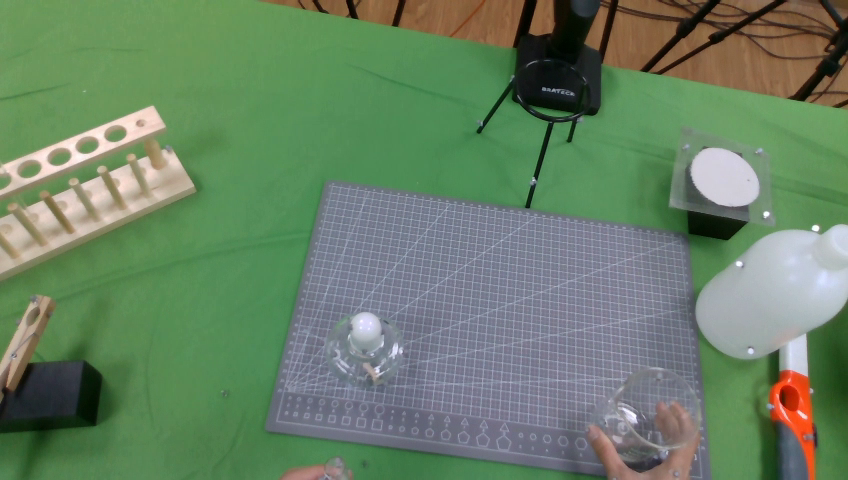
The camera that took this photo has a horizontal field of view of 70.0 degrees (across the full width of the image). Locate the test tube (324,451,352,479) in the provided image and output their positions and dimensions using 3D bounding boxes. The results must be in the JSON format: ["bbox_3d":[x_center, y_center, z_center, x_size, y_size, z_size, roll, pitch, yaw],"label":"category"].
[{"bbox_3d":[-0.061,0.201,0.478,0.017,0.151,0.017,0,50,0],"label":"test tube"}]

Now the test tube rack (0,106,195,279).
[{"bbox_3d":[-0.382,-0.047,0.642,0.242,0.086,0.066,-29,69,-20],"label":"test tube rack"}]

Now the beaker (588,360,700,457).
[{"bbox_3d":[0.204,0.167,0.586,0.084,0.101,0.073,6,61,-2],"label":"beaker"}]

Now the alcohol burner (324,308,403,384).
[{"bbox_3d":[-0.058,0.096,0.585,0.078,0.120,0.077,4,61,-7],"label":"alcohol burner"}]

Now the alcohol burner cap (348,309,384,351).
[{"bbox_3d":[-0.054,0.081,0.553,0.034,0.048,0.033,1,66,-1],"label":"alcohol burner cap"}]

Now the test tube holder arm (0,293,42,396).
[{"bbox_3d":[-0.376,0.130,0.533,0.013,0.015,0.177,11,61,-1],"label":"test tube holder arm"}]

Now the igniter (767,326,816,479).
[{"bbox_3d":[0.400,0.149,0.662,0.057,0.025,0.274,22,62,-9],"label":"igniter"}]

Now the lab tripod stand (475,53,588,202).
[{"bbox_3d":[0.134,-0.140,0.724,0.148,0.132,0.147,3,63,-6],"label":"lab tripod stand"}]

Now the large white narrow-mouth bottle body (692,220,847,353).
[{"bbox_3d":[0.362,0.041,0.620,0.102,0.196,0.101,2,61,-4],"label":"large white narrow-mouth bottle body"}]

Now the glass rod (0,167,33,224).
[{"bbox_3d":[-0.415,-0.078,0.579,0.008,0.201,0.008,5,52,-6],"label":"glass rod"}]

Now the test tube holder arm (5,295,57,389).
[{"bbox_3d":[-0.363,0.092,0.555,0.010,0.015,0.087,12,61,0],"label":"test tube holder arm"}]

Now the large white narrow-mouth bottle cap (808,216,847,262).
[{"bbox_3d":[0.370,-0.001,0.545,0.038,0.024,0.037,3,62,-4],"label":"large white narrow-mouth bottle cap"}]

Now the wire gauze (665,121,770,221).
[{"bbox_3d":[0.357,-0.084,0.735,0.121,0.011,0.124,15,61,2],"label":"wire gauze"}]
